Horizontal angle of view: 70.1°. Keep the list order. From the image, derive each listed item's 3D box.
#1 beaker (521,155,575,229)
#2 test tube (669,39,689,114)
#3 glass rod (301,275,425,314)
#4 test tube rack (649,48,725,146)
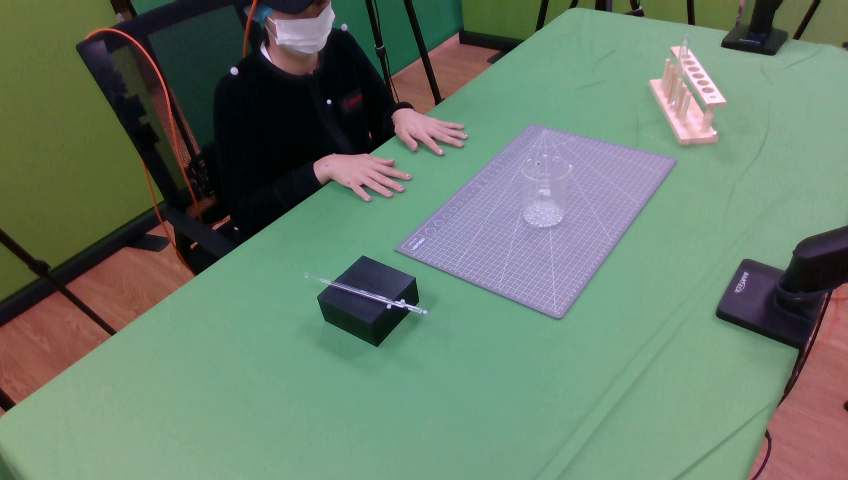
[{"bbox_3d":[0.197,-0.075,0.969,0.084,0.101,0.073,-6,40,2],"label":"beaker"},{"bbox_3d":[0.482,-0.308,1.146,0.017,0.151,0.017,-5,42,5],"label":"test tube"},{"bbox_3d":[-0.089,0.074,0.833,0.198,0.008,0.008,14,44,23],"label":"glass rod"},{"bbox_3d":[0.508,-0.285,1.186,0.067,0.085,0.241,-4,40,6],"label":"test tube rack"}]
